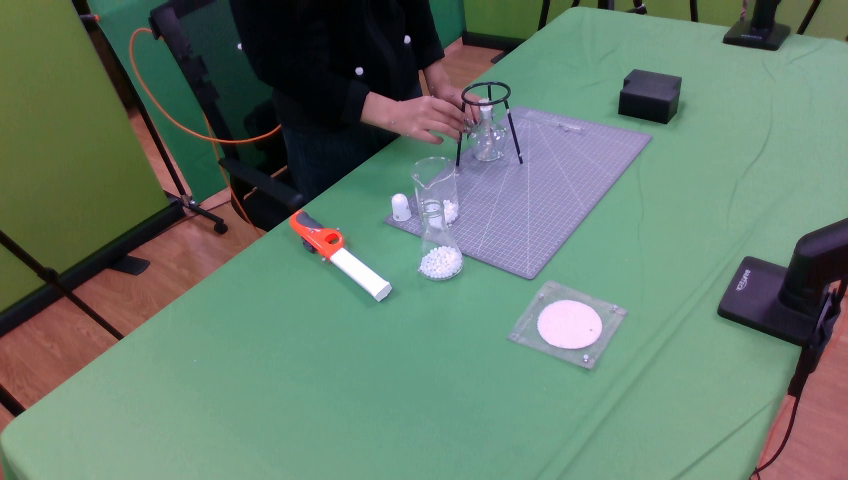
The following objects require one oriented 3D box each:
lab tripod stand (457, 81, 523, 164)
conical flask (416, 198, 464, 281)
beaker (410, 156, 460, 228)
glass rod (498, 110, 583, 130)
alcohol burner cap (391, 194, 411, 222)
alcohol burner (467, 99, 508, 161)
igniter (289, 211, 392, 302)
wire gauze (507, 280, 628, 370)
[{"bbox_3d":[0.120,-0.219,1.130,0.148,0.132,0.147,-7,39,6],"label":"lab tripod stand"},{"bbox_3d":[0.019,-0.004,0.907,0.075,0.122,0.075,-5,40,5],"label":"conical flask"},{"bbox_3d":[0.020,-0.076,1.006,0.074,0.101,0.084,3,42,15],"label":"beaker"},{"bbox_3d":[0.233,-0.245,1.235,0.198,0.008,0.008,21,49,35],"label":"glass rod"},{"bbox_3d":[-0.041,-0.057,1.040,0.034,0.048,0.033,-5,40,5],"label":"alcohol burner cap"},{"bbox_3d":[0.119,-0.210,1.134,0.078,0.119,0.077,-4,39,4],"label":"alcohol burner"},{"bbox_3d":[-0.146,0.019,0.986,0.057,0.025,0.274,-40,48,-18],"label":"igniter"},{"bbox_3d":[0.196,0.114,0.823,0.120,0.011,0.125,20,50,31],"label":"wire gauze"}]
